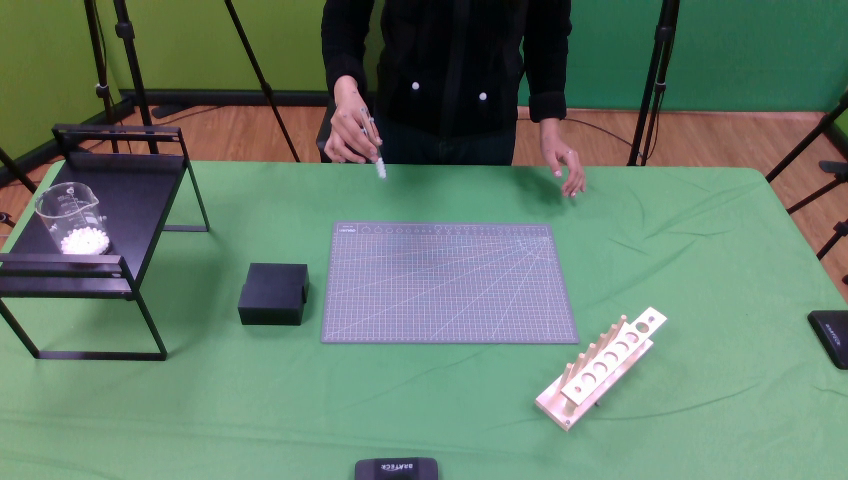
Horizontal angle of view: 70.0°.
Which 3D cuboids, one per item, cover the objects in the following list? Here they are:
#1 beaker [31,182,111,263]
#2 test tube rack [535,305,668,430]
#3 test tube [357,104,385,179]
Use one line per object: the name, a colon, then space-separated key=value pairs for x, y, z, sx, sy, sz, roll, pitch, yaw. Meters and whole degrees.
beaker: x=-0.502 y=-0.022 z=0.877 sx=0.084 sy=0.101 sz=0.073 roll=-2 pitch=47 yaw=-7
test tube rack: x=0.290 y=0.193 z=0.984 sx=0.242 sy=0.085 sz=0.066 roll=-32 pitch=56 yaw=-30
test tube: x=-0.091 y=-0.167 z=1.054 sx=0.017 sy=0.151 sz=0.017 roll=-7 pitch=41 yaw=7
